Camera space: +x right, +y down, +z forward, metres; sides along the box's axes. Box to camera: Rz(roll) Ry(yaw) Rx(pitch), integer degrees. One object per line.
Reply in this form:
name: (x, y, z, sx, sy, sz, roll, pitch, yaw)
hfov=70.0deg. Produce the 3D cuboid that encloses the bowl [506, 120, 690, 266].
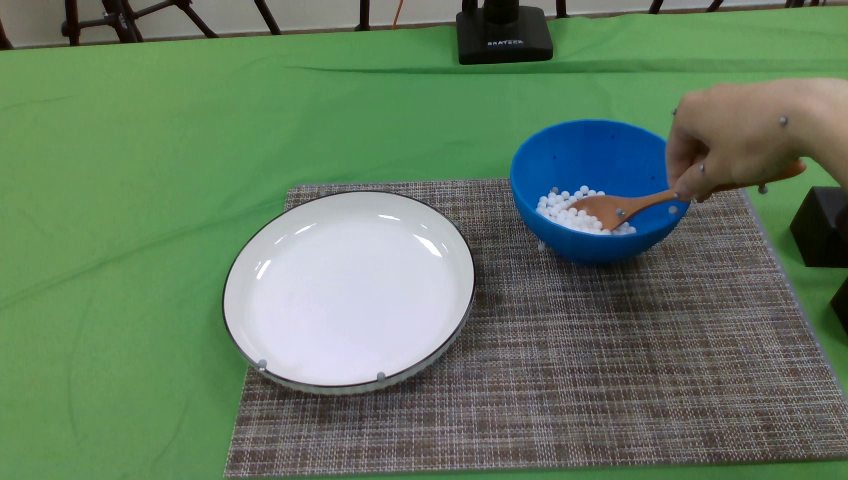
bowl: (0.146, -0.030, 0.535, 0.151, 0.077, 0.150, -2, 47, 2)

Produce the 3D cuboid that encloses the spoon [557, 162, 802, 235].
spoon: (0.187, -0.031, 0.474, 0.193, 0.022, 0.041, -15, 59, 50)

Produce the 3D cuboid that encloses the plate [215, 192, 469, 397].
plate: (-0.066, 0.043, 0.511, 0.207, 0.039, 0.205, -2, 48, 2)
